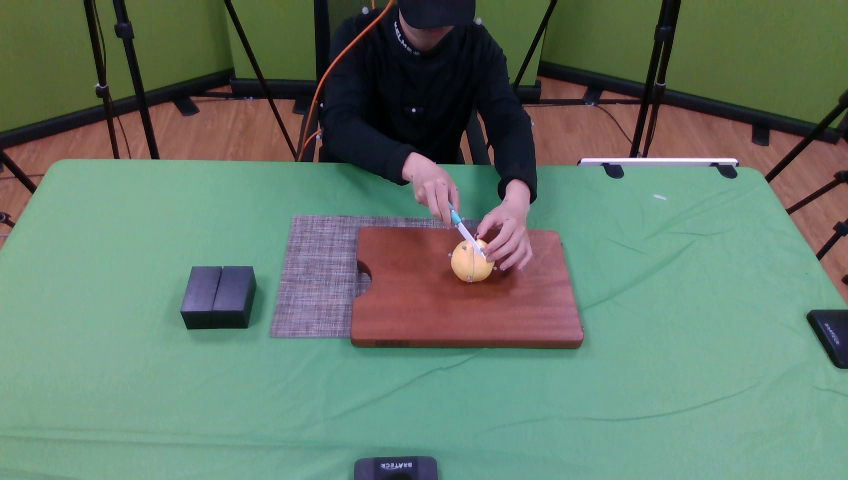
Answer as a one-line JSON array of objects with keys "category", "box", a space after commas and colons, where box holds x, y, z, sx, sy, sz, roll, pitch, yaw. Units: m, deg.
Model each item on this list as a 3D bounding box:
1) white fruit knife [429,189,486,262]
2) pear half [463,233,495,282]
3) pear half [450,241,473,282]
[{"category": "white fruit knife", "box": [0.059, -0.030, 1.086, 0.016, 0.027, 0.206, -17, 47, -21]}, {"category": "pear half", "box": [0.100, 0.024, 1.085, 0.056, 0.110, 0.076, -13, 53, -18]}, {"category": "pear half", "box": [0.064, 0.038, 1.083, 0.031, 0.088, 0.070, -15, 52, -16]}]
